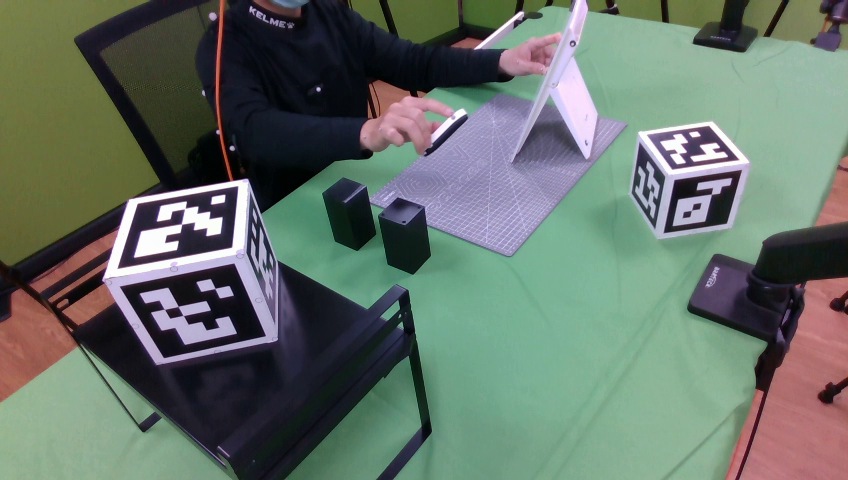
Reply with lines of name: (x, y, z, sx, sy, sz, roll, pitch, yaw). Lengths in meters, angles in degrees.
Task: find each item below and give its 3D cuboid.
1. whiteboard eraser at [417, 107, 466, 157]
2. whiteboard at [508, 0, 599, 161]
whiteboard eraser: (0.027, -0.168, 0.934, 0.019, 0.101, 0.041, 53, 36, 6)
whiteboard: (0.285, -0.289, 1.089, 0.144, 0.305, 0.217, 22, 45, 3)
